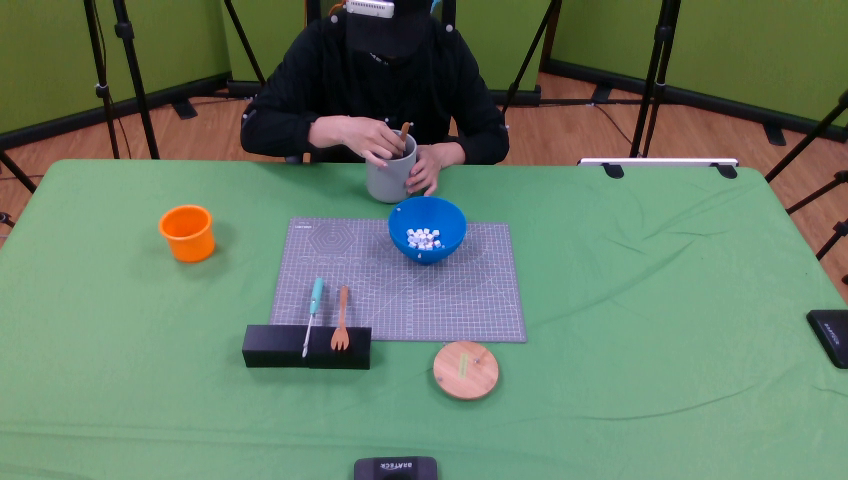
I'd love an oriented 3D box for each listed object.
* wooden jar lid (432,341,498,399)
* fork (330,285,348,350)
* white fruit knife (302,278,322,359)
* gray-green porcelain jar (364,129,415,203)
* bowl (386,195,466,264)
[{"bbox_3d":[0.067,0.216,0.997,0.108,0.021,0.107,1,46,-1],"label":"wooden jar lid"},{"bbox_3d":[-0.140,0.127,1.021,0.028,0.019,0.206,-5,28,-2],"label":"fork"},{"bbox_3d":[-0.189,0.126,1.020,0.016,0.027,0.206,0,33,-2],"label":"white fruit knife"},{"bbox_3d":[-0.073,-0.150,1.264,0.106,0.127,0.105,2,46,-2],"label":"gray-green porcelain jar"},{"bbox_3d":[0.003,-0.007,1.162,0.151,0.077,0.150,2,46,-2],"label":"bowl"}]
